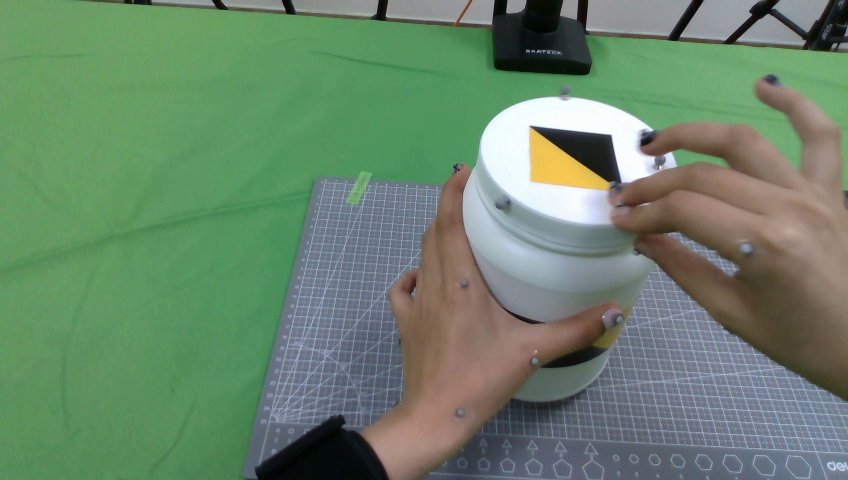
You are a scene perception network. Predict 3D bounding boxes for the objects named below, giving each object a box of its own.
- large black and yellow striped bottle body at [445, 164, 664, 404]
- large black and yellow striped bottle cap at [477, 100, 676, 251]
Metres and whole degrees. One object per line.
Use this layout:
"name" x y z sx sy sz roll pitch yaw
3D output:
"large black and yellow striped bottle body" 0.085 0.015 0.420 0.131 0.185 0.129 2 48 -2
"large black and yellow striped bottle cap" 0.089 -0.042 0.357 0.115 0.019 0.114 1 48 -1
